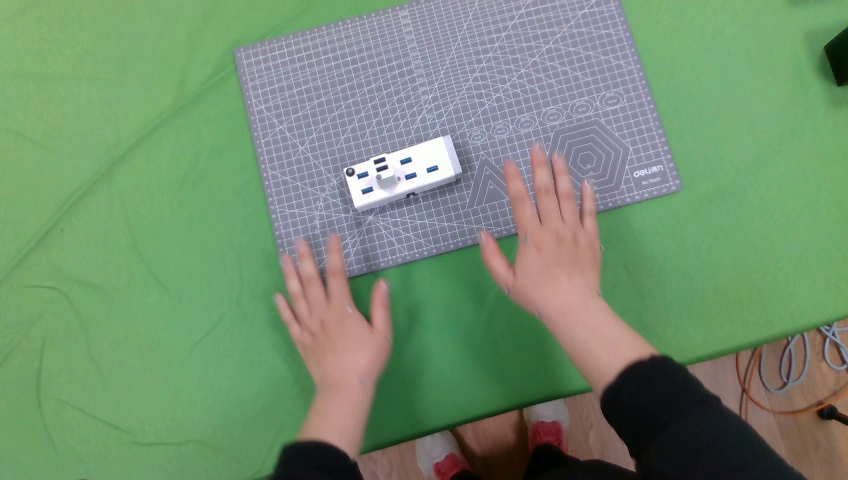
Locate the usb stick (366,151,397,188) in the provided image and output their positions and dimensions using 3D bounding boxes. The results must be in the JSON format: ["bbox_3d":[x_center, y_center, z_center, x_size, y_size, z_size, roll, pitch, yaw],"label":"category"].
[{"bbox_3d":[-0.044,-0.073,0.644,0.021,0.059,0.027,-22,78,1],"label":"usb stick"}]

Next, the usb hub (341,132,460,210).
[{"bbox_3d":[-0.026,-0.077,0.673,0.125,0.025,0.049,-18,80,0],"label":"usb hub"}]
